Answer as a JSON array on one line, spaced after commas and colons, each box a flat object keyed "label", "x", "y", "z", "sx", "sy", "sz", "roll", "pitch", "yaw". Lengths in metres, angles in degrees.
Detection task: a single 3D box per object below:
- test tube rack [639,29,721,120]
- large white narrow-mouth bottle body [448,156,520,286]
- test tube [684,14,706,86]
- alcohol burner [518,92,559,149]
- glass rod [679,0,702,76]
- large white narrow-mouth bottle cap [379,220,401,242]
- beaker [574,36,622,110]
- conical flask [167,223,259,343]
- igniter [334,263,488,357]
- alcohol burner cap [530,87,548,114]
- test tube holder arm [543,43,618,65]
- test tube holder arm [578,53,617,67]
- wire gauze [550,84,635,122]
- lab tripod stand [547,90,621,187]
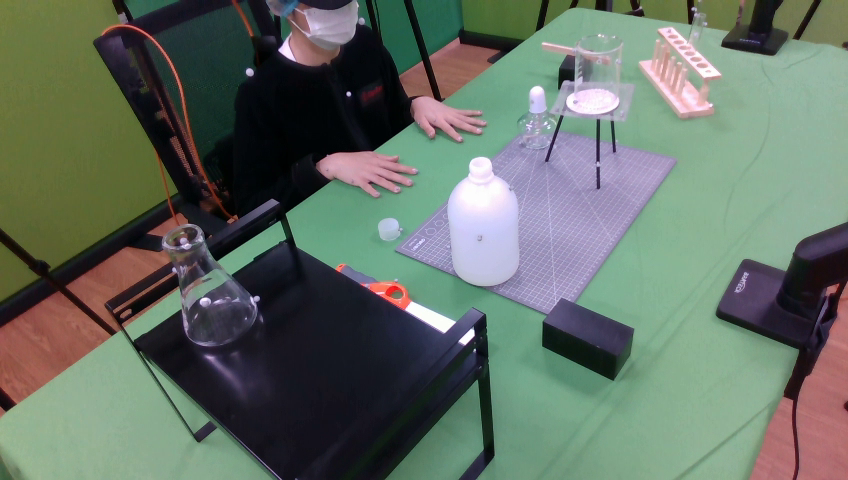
[{"label": "test tube rack", "x": 0.527, "y": -0.351, "z": 1.262, "sx": 0.067, "sy": 0.085, "sz": 0.241, "roll": -8, "pitch": 40, "yaw": 1}, {"label": "large white narrow-mouth bottle body", "x": 0.086, "y": -0.032, "z": 0.869, "sx": 0.102, "sy": 0.195, "sz": 0.101, "roll": -4, "pitch": 40, "yaw": 4}, {"label": "test tube", "x": 0.540, "y": -0.378, "z": 1.215, "sx": 0.017, "sy": 0.151, "sz": 0.017, "roll": -2, "pitch": 44, "yaw": 3}, {"label": "alcohol burner", "x": 0.218, "y": -0.234, "z": 1.149, "sx": 0.078, "sy": 0.119, "sz": 0.077, "roll": -5, "pitch": 43, "yaw": 5}, {"label": "glass rod", "x": 0.543, "y": -0.417, "z": 1.233, "sx": 0.008, "sy": 0.200, "sz": 0.008, "roll": 1, "pitch": 39, "yaw": 0}, {"label": "large white narrow-mouth bottle cap", "x": -0.057, "y": -0.015, "z": 1.011, "sx": 0.038, "sy": 0.024, "sz": 0.037, "roll": -4, "pitch": 40, "yaw": 4}, {"label": "beaker", "x": 0.285, "y": -0.273, "z": 0.990, "sx": 0.073, "sy": 0.101, "sz": 0.084, "roll": 15, "pitch": 46, "yaw": 27}, {"label": "conical flask", "x": -0.220, "y": 0.041, "z": 0.613, "sx": 0.075, "sy": 0.122, "sz": 0.075, "roll": -5, "pitch": 40, "yaw": 4}, {"label": "igniter", "x": -0.030, "y": 0.095, "z": 0.872, "sx": 0.274, "sy": 0.025, "sz": 0.057, "roll": 23, "pitch": 60, "yaw": 31}, {"label": "alcohol burner cap", "x": 0.212, "y": -0.262, "z": 1.126, "sx": 0.034, "sy": 0.048, "sz": 0.033, "roll": -9, "pitch": 37, "yaw": 7}, {"label": "test tube holder arm", "x": 0.345, "y": -0.413, "z": 1.341, "sx": 0.177, "sy": 0.015, "sz": 0.013, "roll": 25, "pitch": 50, "yaw": 32}, {"label": "test tube holder arm", "x": 0.376, "y": -0.393, "z": 1.314, "sx": 0.087, "sy": 0.015, "sz": 0.010, "roll": 26, "pitch": 50, "yaw": 32}, {"label": "wire gauze", "x": 0.285, "y": -0.234, "z": 1.021, "sx": 0.124, "sy": 0.011, "sz": 0.121, "roll": 8, "pitch": 41, "yaw": 23}, {"label": "lab tripod stand", "x": 0.289, "y": -0.184, "z": 1.062, "sx": 0.148, "sy": 0.132, "sz": 0.147, "roll": -6, "pitch": 41, "yaw": 6}]
